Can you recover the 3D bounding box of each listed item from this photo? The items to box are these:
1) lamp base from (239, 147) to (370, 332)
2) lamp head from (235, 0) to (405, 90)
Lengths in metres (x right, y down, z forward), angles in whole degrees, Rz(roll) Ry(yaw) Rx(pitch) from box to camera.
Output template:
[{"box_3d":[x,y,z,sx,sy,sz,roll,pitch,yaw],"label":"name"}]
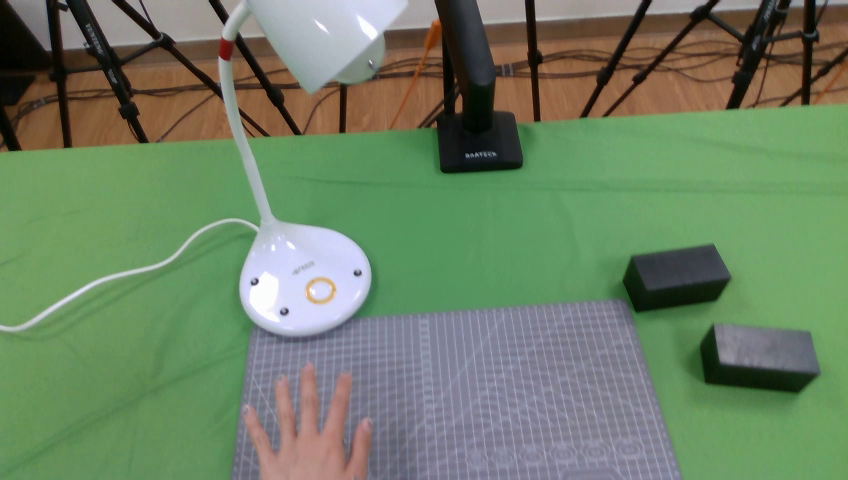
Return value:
[{"box_3d":[-0.159,-0.010,0.694,0.177,0.182,0.160,34,60,29],"label":"lamp base"},{"box_3d":[-0.095,-0.198,0.480,0.123,0.112,0.112,42,56,-17],"label":"lamp head"}]
